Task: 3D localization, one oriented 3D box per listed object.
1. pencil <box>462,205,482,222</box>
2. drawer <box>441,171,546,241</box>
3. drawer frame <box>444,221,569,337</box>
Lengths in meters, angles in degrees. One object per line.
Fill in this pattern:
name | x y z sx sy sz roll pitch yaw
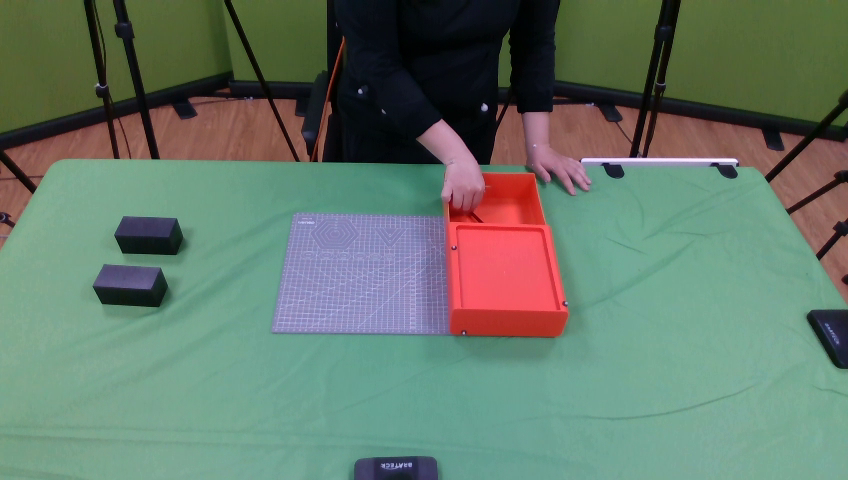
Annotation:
pencil | 0.133 -0.018 1.220 0.012 0.012 0.193 -23 47 -24
drawer | 0.137 -0.047 1.215 0.195 0.073 0.210 2 44 -4
drawer frame | 0.141 0.066 1.097 0.202 0.083 0.212 2 46 -4
